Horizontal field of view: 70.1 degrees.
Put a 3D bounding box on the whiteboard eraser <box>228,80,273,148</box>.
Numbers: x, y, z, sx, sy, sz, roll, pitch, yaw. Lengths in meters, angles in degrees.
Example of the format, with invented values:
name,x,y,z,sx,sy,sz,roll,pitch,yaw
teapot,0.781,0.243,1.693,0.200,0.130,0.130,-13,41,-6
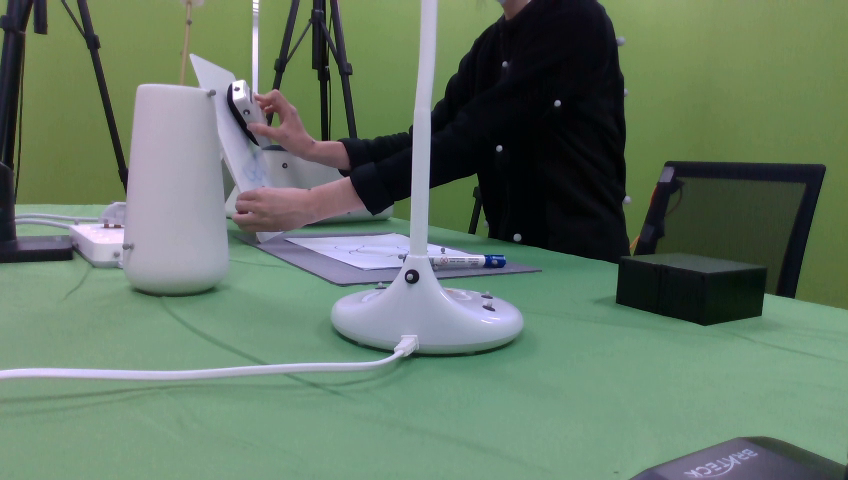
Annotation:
name,x,y,z,sx,sy,sz,roll,pitch,yaw
whiteboard eraser,-0.300,-0.216,1.045,0.042,0.113,0.055,-19,52,1

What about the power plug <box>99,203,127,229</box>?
name,x,y,z,sx,sy,sz,roll,pitch,yaw
power plug,-0.415,-0.026,0.848,0.073,0.052,0.035,6,5,-28

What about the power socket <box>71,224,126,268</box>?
name,x,y,z,sx,sy,sz,roll,pitch,yaw
power socket,-0.409,0.004,0.793,0.072,0.032,0.225,-2,8,-37

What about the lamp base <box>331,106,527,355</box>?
name,x,y,z,sx,sy,sz,roll,pitch,yaw
lamp base,0.006,-0.012,0.478,0.161,0.180,0.179,2,10,2

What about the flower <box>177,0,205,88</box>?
name,x,y,z,sx,sy,sz,roll,pitch,yaw
flower,-0.243,-0.131,0.609,0.044,0.361,0.038,-5,-12,12

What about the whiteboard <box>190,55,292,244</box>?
name,x,y,z,sx,sy,sz,roll,pitch,yaw
whiteboard,-0.363,-0.129,1.028,0.144,0.305,0.217,-18,7,3

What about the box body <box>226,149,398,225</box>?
name,x,y,z,sx,sy,sz,roll,pitch,yaw
box body,-0.265,-0.129,1.380,0.253,0.160,0.366,8,9,39

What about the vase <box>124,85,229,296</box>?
name,x,y,z,sx,sy,sz,roll,pitch,yaw
vase,-0.244,-0.047,0.598,0.098,0.200,0.098,3,8,0

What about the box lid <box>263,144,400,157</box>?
name,x,y,z,sx,sy,sz,roll,pitch,yaw
box lid,-0.263,-0.203,1.369,0.262,0.015,0.373,9,10,39

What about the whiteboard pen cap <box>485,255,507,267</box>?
name,x,y,z,sx,sy,sz,roll,pitch,yaw
whiteboard pen cap,0.093,0.028,0.809,0.033,0.018,0.018,0,8,-24

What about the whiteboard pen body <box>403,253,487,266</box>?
name,x,y,z,sx,sy,sz,roll,pitch,yaw
whiteboard pen body,0.039,0.026,0.785,0.141,0.017,0.017,2,7,-24
